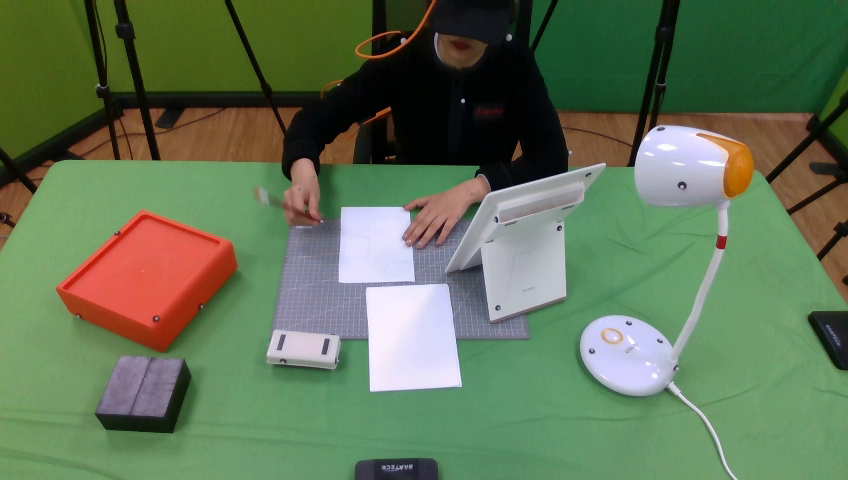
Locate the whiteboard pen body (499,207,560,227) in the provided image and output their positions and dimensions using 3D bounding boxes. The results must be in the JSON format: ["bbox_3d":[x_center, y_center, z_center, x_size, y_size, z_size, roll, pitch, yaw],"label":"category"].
[{"bbox_3d":[0.222,-0.051,1.260,0.141,0.017,0.017,-15,49,-16],"label":"whiteboard pen body"}]

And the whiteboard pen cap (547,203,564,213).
[{"bbox_3d":[0.277,-0.066,1.275,0.033,0.018,0.018,-18,50,-15],"label":"whiteboard pen cap"}]

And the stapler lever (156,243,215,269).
[{"bbox_3d":[-0.433,0.023,1.097,0.118,0.040,0.026,14,39,14],"label":"stapler lever"}]

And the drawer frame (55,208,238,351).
[{"bbox_3d":[-0.474,0.062,1.059,0.201,0.083,0.213,18,48,12],"label":"drawer frame"}]

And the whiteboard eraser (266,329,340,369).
[{"bbox_3d":[-0.198,0.181,0.994,0.113,0.042,0.055,5,45,1],"label":"whiteboard eraser"}]

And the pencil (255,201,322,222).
[{"bbox_3d":[-0.237,-0.047,1.085,0.012,0.195,0.012,-3,81,24],"label":"pencil"}]

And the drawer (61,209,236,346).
[{"bbox_3d":[-0.474,0.061,1.063,0.194,0.073,0.211,19,49,13],"label":"drawer"}]

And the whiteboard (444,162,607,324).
[{"bbox_3d":[0.186,0.025,1.029,0.217,0.306,0.143,-15,68,-18],"label":"whiteboard"}]

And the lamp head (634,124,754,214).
[{"bbox_3d":[0.351,-0.089,0.775,0.112,0.113,0.122,-30,30,-28],"label":"lamp head"}]

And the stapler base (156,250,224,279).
[{"bbox_3d":[-0.431,0.040,1.111,0.130,0.024,0.041,11,38,17],"label":"stapler base"}]

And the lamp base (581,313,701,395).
[{"bbox_3d":[0.361,0.144,0.973,0.178,0.181,0.160,34,53,23],"label":"lamp base"}]
